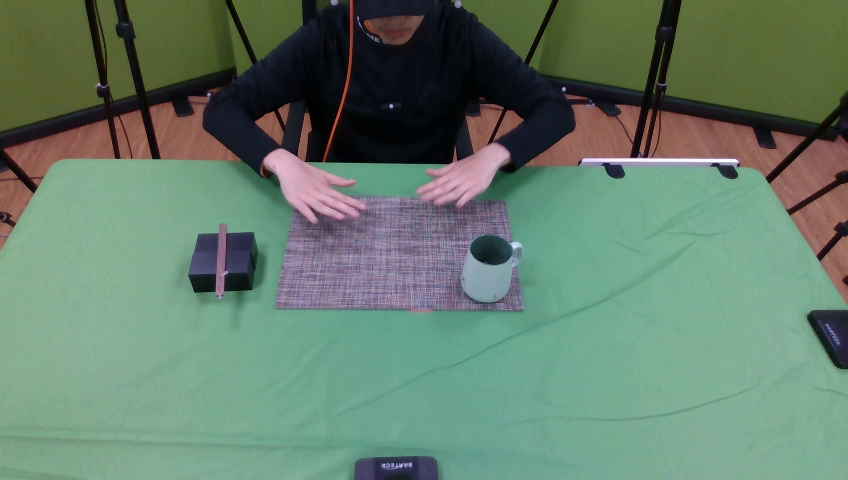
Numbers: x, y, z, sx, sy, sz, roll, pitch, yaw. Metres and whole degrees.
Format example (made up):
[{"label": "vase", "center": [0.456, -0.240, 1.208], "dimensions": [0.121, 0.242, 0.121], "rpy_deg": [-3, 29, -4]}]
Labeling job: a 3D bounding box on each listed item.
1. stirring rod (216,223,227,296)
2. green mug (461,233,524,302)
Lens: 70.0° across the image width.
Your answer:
[{"label": "stirring rod", "center": [-0.362, 0.031, 1.083], "dimensions": [0.014, 0.006, 0.175], "rpy_deg": [-7, 47, -9]}, {"label": "green mug", "center": [0.130, 0.044, 1.101], "dimensions": [0.125, 0.105, 0.092], "rpy_deg": [-25, 53, -25]}]
